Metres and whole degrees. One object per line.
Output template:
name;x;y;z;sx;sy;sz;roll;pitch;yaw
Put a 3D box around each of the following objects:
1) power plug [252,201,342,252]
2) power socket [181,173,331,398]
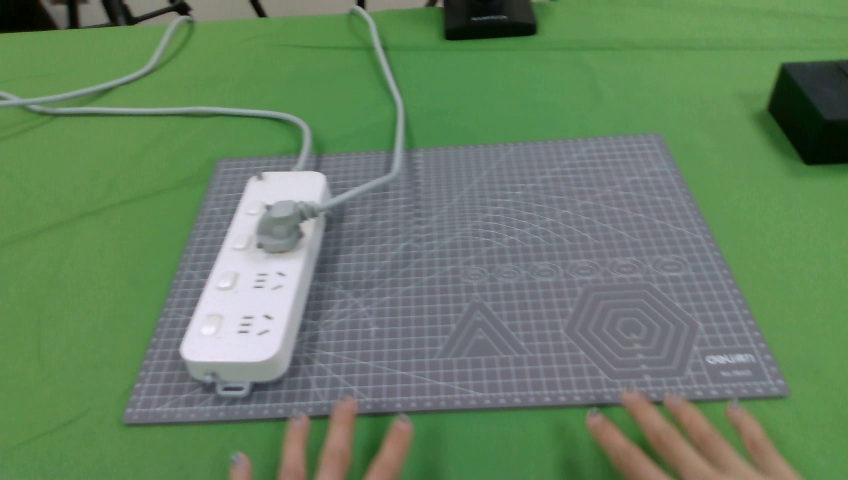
power plug;-0.100;-0.003;0.476;0.072;0.053;0.035;7;46;14
power socket;-0.127;0.020;0.489;0.072;0.033;0.224;2;44;4
